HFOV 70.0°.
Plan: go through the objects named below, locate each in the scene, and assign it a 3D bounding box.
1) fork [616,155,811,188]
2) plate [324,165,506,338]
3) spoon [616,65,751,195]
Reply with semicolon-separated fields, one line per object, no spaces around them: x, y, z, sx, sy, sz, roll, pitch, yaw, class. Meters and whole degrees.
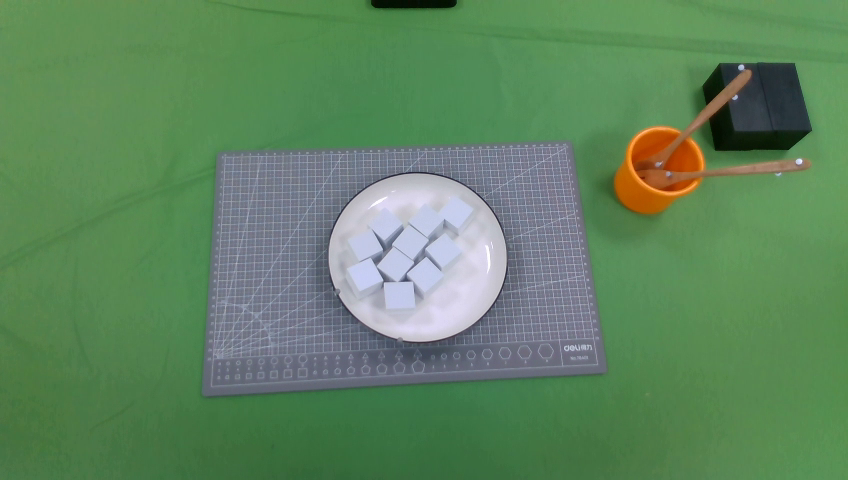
0.320;-0.080;0.691;0.206;0.019;0.028;-2;84;42;fork
-0.011;0.014;0.706;0.208;0.039;0.206;1;71;-2;plate
0.303;-0.125;0.711;0.022;0.194;0.041;-14;60;-53;spoon
